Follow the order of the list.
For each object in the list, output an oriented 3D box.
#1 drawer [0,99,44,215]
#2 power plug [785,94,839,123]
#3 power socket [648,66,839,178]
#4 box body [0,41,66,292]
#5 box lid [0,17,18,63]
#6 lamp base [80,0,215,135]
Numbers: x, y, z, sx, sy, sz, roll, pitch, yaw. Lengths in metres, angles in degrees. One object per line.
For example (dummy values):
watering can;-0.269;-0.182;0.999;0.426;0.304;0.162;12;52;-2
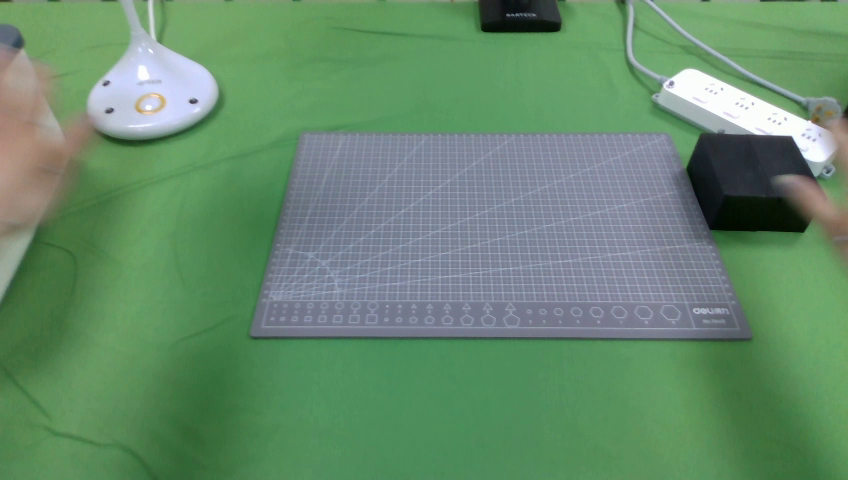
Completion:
drawer;-0.503;-0.068;0.566;0.195;0.074;0.209;6;39;-12
power plug;0.480;-0.164;0.761;0.053;0.035;0.072;-24;18;-27
power socket;0.384;-0.148;0.735;0.072;0.033;0.224;-33;56;-27
box body;-0.515;-0.027;0.531;0.254;0.162;0.360;-3;48;-4
box lid;-0.514;-0.076;0.474;0.263;0.015;0.367;-3;48;-3
lamp base;-0.354;-0.245;0.718;0.161;0.182;0.177;-19;48;-16
